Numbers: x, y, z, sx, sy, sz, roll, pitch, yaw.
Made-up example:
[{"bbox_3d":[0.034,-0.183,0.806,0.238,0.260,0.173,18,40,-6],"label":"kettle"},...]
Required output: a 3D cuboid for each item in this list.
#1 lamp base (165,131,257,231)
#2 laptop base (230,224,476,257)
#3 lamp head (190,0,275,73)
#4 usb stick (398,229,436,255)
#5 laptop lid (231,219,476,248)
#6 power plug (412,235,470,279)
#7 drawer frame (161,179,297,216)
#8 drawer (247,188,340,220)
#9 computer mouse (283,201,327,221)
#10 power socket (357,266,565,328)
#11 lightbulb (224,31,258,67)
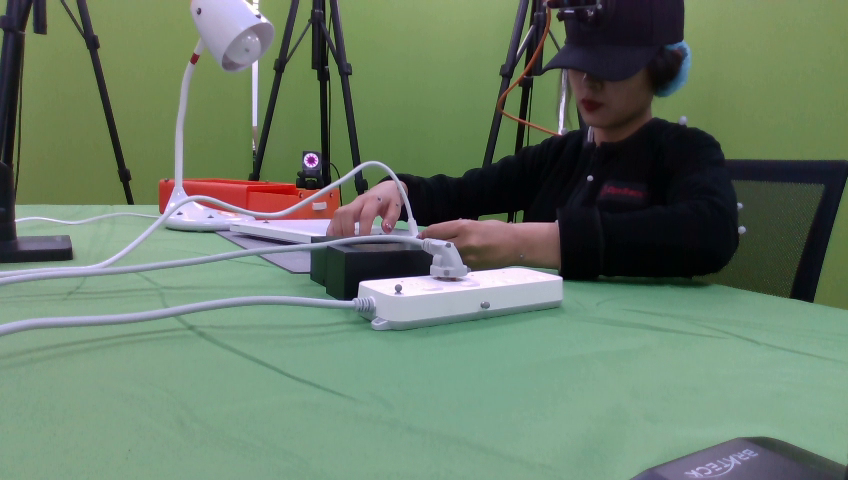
[{"bbox_3d":[-0.407,-0.112,1.119,0.179,0.180,0.161,-1,7,7],"label":"lamp base"},{"bbox_3d":[-0.121,-0.004,1.000,0.352,0.023,0.237,8,6,38],"label":"laptop base"},{"bbox_3d":[-0.331,-0.355,1.008,0.123,0.112,0.112,43,15,6],"label":"lamp head"},{"bbox_3d":[-0.011,0.004,0.814,0.059,0.027,0.021,-15,4,32],"label":"usb stick"},{"bbox_3d":[-0.119,-0.016,1.000,0.355,0.013,0.243,8,7,39],"label":"laptop lid"},{"bbox_3d":[0.017,0.023,0.588,0.035,0.052,0.072,-1,8,-23],"label":"power plug"},{"bbox_3d":[-0.421,-0.089,1.330,0.213,0.082,0.202,4,8,16],"label":"drawer frame"},{"bbox_3d":[-0.314,-0.079,1.301,0.211,0.073,0.195,4,8,15],"label":"drawer"},{"bbox_3d":[-0.254,-0.062,1.293,0.063,0.041,0.117,1,2,10],"label":"computer mouse"},{"bbox_3d":[0.041,0.049,0.572,0.228,0.032,0.072,-3,8,-35],"label":"power socket"},{"bbox_3d":[-0.322,-0.333,0.998,0.107,0.059,0.059,44,12,3],"label":"lightbulb"}]
